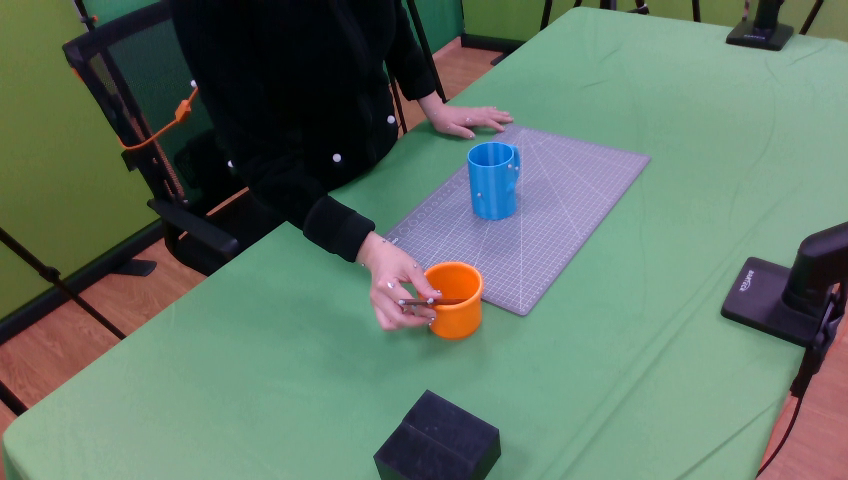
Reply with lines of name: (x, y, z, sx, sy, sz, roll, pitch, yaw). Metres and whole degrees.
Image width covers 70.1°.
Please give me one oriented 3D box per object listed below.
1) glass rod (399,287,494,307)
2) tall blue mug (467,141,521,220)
glass rod: (0.035, 0.075, 0.800, 0.008, 0.008, 0.201, 27, 19, 36)
tall blue mug: (0.119, -0.109, 1.020, 0.077, 0.108, 0.107, 2, 42, 15)
